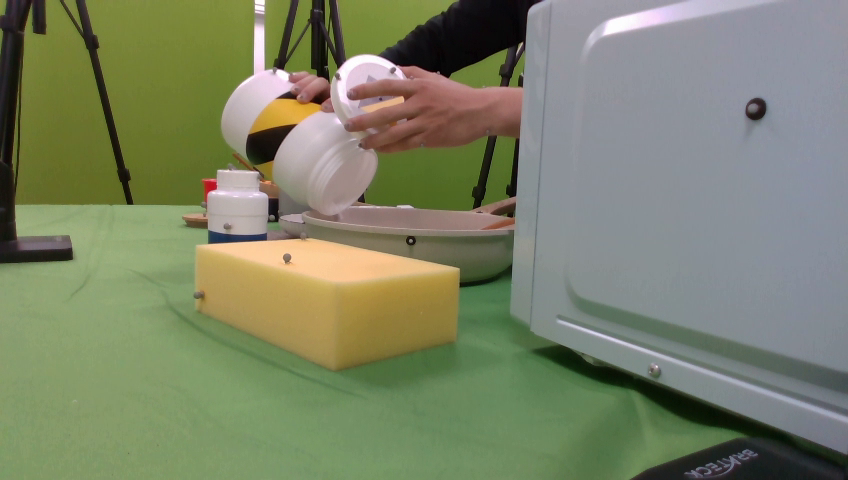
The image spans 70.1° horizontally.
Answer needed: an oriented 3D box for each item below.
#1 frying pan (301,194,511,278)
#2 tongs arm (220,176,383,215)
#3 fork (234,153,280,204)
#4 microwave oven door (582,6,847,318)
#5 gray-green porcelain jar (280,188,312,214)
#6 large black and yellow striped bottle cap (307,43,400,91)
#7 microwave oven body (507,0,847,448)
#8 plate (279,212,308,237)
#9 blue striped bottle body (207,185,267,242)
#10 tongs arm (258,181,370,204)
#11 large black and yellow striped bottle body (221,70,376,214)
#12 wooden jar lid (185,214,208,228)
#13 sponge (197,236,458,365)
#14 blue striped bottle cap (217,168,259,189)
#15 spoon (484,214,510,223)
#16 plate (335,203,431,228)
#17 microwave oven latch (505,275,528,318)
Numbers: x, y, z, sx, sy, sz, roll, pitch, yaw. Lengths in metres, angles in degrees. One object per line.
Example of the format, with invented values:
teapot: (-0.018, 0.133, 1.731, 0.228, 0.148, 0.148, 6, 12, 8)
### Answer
frying pan: (0.051, -0.029, 0.864, 0.305, 0.102, 0.490, 8, 18, 35)
tongs arm: (-0.285, -0.104, 1.445, 0.389, 0.027, 0.028, 9, -4, -23)
fork: (-0.396, -0.143, 1.486, 0.028, 0.018, 0.208, 20, -26, 45)
microwave oven door: (0.295, -0.067, 0.569, 0.358, 0.243, 0.039, -3, 8, -31)
gray-green porcelain jar: (-0.238, -0.092, 1.221, 0.106, 0.126, 0.106, 2, 7, 0)
large black and yellow striped bottle cap: (-0.085, -0.210, 0.739, 0.115, 0.019, 0.115, -17, 3, 1)
microwave oven body: (0.331, -0.042, 0.425, 0.444, 0.260, 0.324, -2, 8, -31)
plate: (-0.139, -0.022, 1.021, 0.209, 0.038, 0.209, 2, 8, 0)
blue striped bottle body: (-0.204, -0.016, 0.663, 0.063, 0.120, 0.063, 2, 7, 0)
tongs arm: (-0.241, -0.095, 1.373, 0.387, 0.026, 0.050, 9, 0, -37)
large black and yellow striped bottle body: (-0.167, -0.131, 0.823, 0.183, 0.130, 0.131, 38, 20, 16)
wooden jar lid: (-0.404, -0.037, 1.169, 0.108, 0.020, 0.108, 3, 7, 0)
sponge: (-0.087, 0.039, 0.500, 0.206, 0.061, 0.119, 8, 9, 44)
blue striped bottle cap: (-0.202, -0.067, 0.657, 0.044, 0.020, 0.044, 0, 11, 0)
spoon: (0.076, -0.013, 0.793, 0.193, 0.021, 0.042, -24, 0, 11)
plate: (-0.089, -0.053, 1.309, 0.208, 0.039, 0.207, 2, 8, 0)
microwave oven latch: (0.100, 0.042, 0.472, 0.079, 0.029, 0.030, -2, 8, -31)
